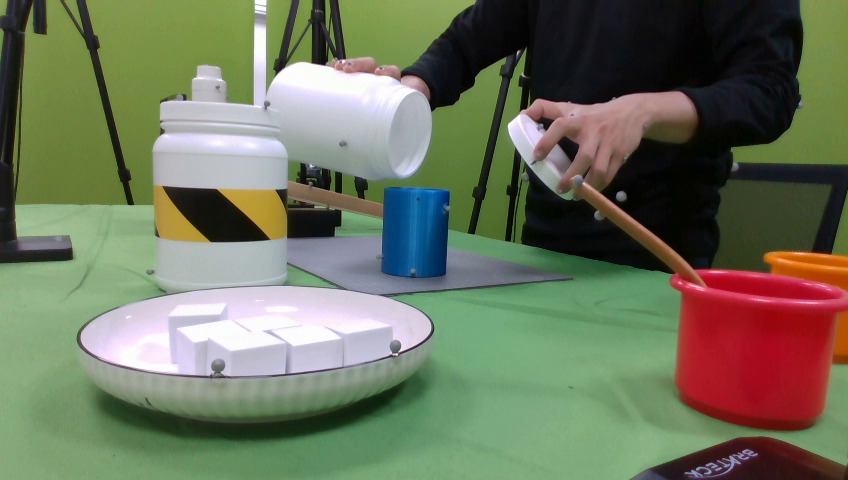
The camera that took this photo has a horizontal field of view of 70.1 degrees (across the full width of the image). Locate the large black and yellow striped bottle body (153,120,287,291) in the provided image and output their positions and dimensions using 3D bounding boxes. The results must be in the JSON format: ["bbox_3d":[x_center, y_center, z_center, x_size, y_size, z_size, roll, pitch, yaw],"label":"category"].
[{"bbox_3d":[-0.208,-0.042,0.626,0.131,0.184,0.130,2,7,0],"label":"large black and yellow striped bottle body"}]

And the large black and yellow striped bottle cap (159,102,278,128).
[{"bbox_3d":[-0.207,-0.125,0.615,0.115,0.019,0.115,2,6,0],"label":"large black and yellow striped bottle cap"}]

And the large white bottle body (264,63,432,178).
[{"bbox_3d":[-0.094,-0.152,0.774,0.184,0.130,0.131,15,12,25],"label":"large white bottle body"}]

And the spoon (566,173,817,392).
[{"bbox_3d":[0.161,0.024,0.370,0.193,0.021,0.042,47,18,3],"label":"spoon"}]

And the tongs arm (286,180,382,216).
[{"bbox_3d":[-0.122,-0.066,1.147,0.387,0.026,0.050,11,-2,-37],"label":"tongs arm"}]

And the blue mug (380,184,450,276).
[{"bbox_3d":[-0.018,-0.016,0.763,0.083,0.106,0.116,-1,8,-25],"label":"blue mug"}]

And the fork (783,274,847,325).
[{"bbox_3d":[0.332,0.018,0.443,0.028,0.018,0.207,-2,-36,-15],"label":"fork"}]

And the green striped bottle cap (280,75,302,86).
[{"bbox_3d":[-0.267,-0.320,1.216,0.044,0.020,0.044,2,8,0],"label":"green striped bottle cap"}]

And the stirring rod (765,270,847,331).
[{"bbox_3d":[0.352,0.020,0.484,0.176,0.006,0.014,-40,-7,12],"label":"stirring rod"}]

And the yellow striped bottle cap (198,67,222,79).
[{"bbox_3d":[-0.412,-0.320,1.163,0.044,0.018,0.044,0,6,0],"label":"yellow striped bottle cap"}]

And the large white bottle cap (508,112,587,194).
[{"bbox_3d":[0.143,-0.101,0.697,0.018,0.114,0.115,-44,-17,27],"label":"large white bottle cap"}]

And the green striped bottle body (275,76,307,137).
[{"bbox_3d":[-0.269,-0.269,1.221,0.063,0.119,0.063,2,7,0],"label":"green striped bottle body"}]

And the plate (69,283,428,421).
[{"bbox_3d":[-0.102,0.066,0.380,0.208,0.039,0.207,2,7,0],"label":"plate"}]

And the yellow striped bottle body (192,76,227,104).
[{"bbox_3d":[-0.414,-0.268,1.169,0.063,0.120,0.063,2,7,0],"label":"yellow striped bottle body"}]

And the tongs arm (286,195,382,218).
[{"bbox_3d":[-0.165,-0.074,1.216,0.389,0.027,0.028,11,-6,-24],"label":"tongs arm"}]
